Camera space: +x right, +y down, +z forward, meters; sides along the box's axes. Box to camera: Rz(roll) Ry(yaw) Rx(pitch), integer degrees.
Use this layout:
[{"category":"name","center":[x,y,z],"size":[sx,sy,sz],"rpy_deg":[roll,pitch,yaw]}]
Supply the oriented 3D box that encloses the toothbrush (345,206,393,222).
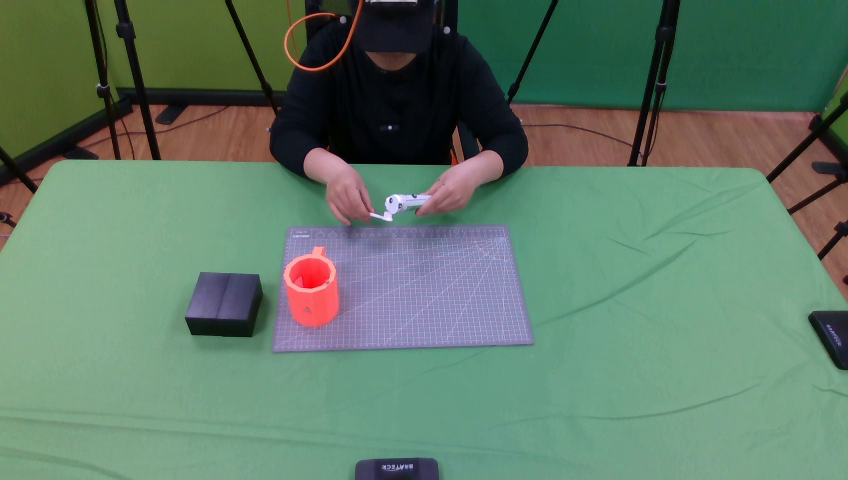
[{"category":"toothbrush","center":[-0.110,-0.054,1.183],"size":[0.014,0.016,0.181],"rpy_deg":[-4,10,-33]}]

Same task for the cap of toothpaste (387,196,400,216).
[{"category":"cap of toothpaste","center":[-0.058,-0.063,1.113],"size":[0.011,0.037,0.037],"rpy_deg":[11,44,33]}]

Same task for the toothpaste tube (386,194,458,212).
[{"category":"toothpaste tube","center":[-0.007,-0.076,1.187],"size":[0.165,0.055,0.034],"rpy_deg":[-8,84,-43]}]

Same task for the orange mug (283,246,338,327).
[{"category":"orange mug","center":[-0.192,0.074,1.056],"size":[0.083,0.101,0.125],"rpy_deg":[5,50,1]}]
